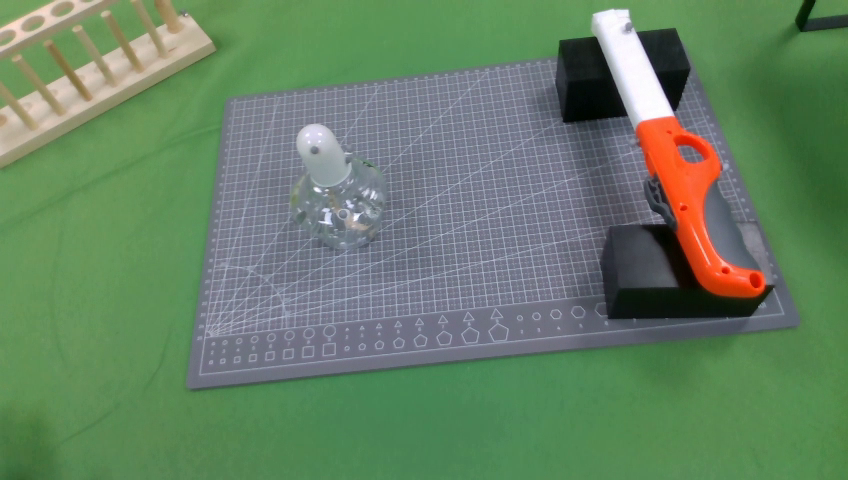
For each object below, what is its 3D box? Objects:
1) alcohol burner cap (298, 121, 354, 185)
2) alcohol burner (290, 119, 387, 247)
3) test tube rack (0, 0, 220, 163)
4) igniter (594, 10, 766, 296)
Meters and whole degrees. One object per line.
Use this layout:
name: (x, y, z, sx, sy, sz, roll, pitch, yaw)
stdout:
alcohol burner cap: (-0.072, -0.066, 0.437, 0.034, 0.048, 0.033, -5, 61, 9)
alcohol burner: (-0.069, -0.047, 0.466, 0.078, 0.120, 0.077, -3, 56, 5)
test tube rack: (-0.338, -0.183, 0.599, 0.242, 0.086, 0.066, -34, 61, -14)
igniter: (0.179, -0.079, 0.451, 0.057, 0.025, 0.273, -10, 57, 2)
